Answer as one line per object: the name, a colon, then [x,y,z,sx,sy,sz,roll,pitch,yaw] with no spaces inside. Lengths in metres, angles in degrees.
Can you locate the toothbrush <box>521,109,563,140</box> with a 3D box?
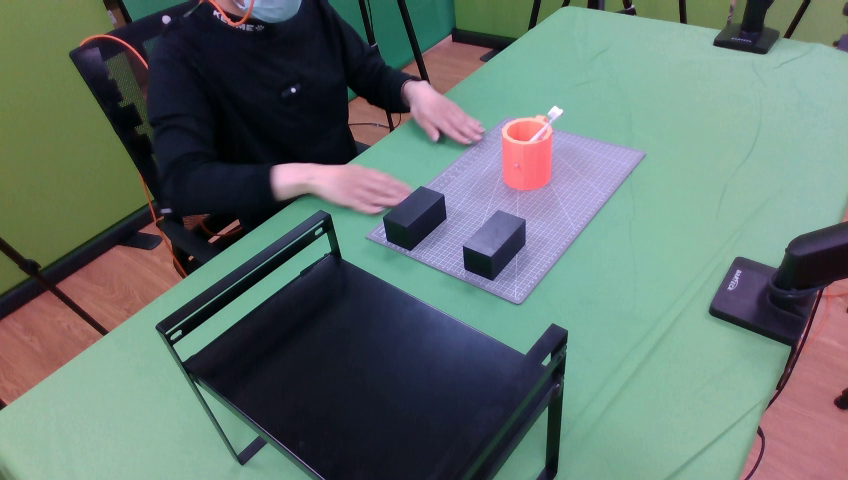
toothbrush: [0.185,-0.181,1.016,0.017,0.181,0.014,-4,81,-16]

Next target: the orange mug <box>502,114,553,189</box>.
orange mug: [0.190,-0.164,1.071,0.083,0.101,0.126,16,50,25]
